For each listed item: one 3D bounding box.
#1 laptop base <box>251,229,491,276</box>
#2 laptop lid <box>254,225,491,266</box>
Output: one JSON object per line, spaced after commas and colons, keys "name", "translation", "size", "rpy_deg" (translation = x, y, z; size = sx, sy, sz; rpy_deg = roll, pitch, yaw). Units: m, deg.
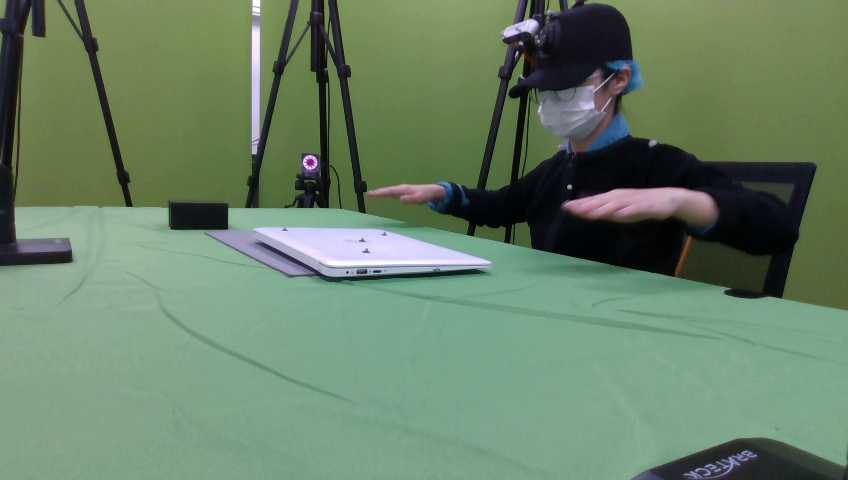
{"name": "laptop base", "translation": [-0.095, 0.015, 0.888], "size": [0.237, 0.023, 0.352], "rpy_deg": [2, 7, -30]}
{"name": "laptop lid", "translation": [-0.093, 0.003, 0.888], "size": [0.243, 0.013, 0.355], "rpy_deg": [1, 8, -28]}
